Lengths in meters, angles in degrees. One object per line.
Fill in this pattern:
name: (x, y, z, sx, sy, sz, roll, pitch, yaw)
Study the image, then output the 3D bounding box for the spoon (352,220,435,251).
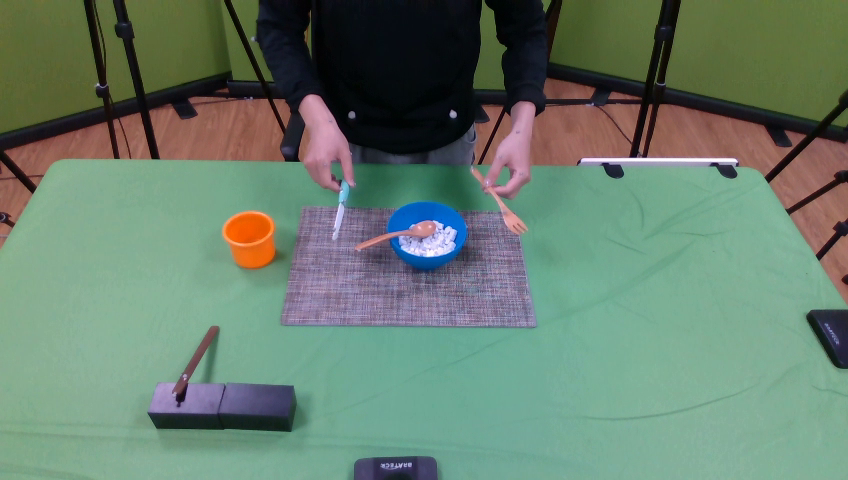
spoon: (-0.054, -0.009, 1.109, 0.194, 0.022, 0.041, -14, 40, -42)

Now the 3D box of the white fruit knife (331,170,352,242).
white fruit knife: (-0.149, -0.065, 1.082, 0.016, 0.027, 0.206, -9, 39, 9)

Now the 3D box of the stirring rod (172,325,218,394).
stirring rod: (-0.361, 0.185, 0.962, 0.014, 0.006, 0.175, 0, 26, 1)

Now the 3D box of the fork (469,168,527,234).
fork: (0.130, -0.075, 1.112, 0.028, 0.019, 0.206, -23, 50, -9)

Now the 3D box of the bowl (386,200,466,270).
bowl: (0.002, 0.003, 1.150, 0.151, 0.077, 0.150, 2, 46, -2)
